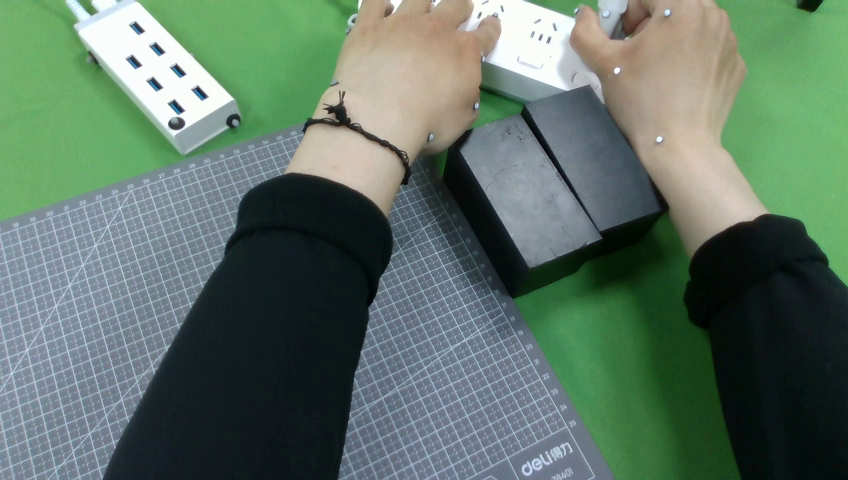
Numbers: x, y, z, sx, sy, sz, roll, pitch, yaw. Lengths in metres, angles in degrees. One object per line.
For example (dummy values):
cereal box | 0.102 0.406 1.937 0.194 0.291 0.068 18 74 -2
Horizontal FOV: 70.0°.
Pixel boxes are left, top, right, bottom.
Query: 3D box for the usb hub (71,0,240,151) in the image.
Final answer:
usb hub | -0.187 -0.119 0.422 0.049 0.025 0.124 -40 74 -20

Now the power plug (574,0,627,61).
power plug | 0.137 -0.158 0.445 0.035 0.053 0.072 31 63 16

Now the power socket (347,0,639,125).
power socket | 0.054 -0.153 0.457 0.226 0.033 0.072 22 64 5
